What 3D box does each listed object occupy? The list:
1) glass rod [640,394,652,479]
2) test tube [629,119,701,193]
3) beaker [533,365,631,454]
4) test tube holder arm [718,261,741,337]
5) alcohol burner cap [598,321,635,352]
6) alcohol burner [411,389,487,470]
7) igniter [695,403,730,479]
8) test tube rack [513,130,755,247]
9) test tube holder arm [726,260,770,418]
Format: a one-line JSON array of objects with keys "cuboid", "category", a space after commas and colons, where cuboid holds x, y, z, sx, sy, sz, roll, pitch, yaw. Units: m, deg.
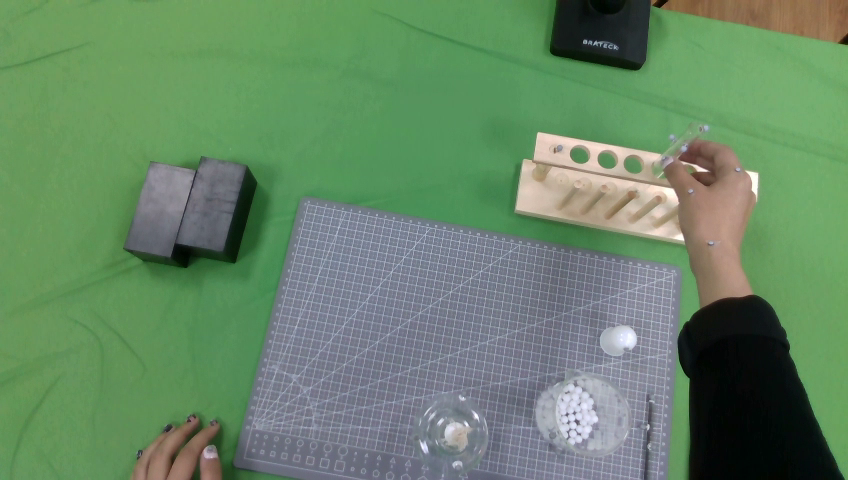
[{"cuboid": [0.229, 0.264, 0.638, 0.008, 0.008, 0.198, 10, 75, -1], "category": "glass rod"}, {"cuboid": [0.251, -0.085, 0.642, 0.017, 0.151, 0.017, 1, 71, -3], "category": "test tube"}, {"cuboid": [0.152, 0.170, 0.611, 0.074, 0.100, 0.083, -21, 76, -9], "category": "beaker"}, {"cuboid": [0.352, 0.068, 0.695, 0.010, 0.015, 0.087, -14, 75, 28], "category": "test tube holder arm"}, {"cuboid": [0.213, 0.104, 0.662, 0.034, 0.048, 0.033, 1, 75, -3], "category": "alcohol burner cap"}, {"cuboid": [0.026, 0.185, 0.592, 0.078, 0.119, 0.077, 1, 73, -3], "category": "alcohol burner"}, {"cuboid": [0.289, 0.309, 0.624, 0.057, 0.025, 0.275, 14, 75, -10], "category": "igniter"}, {"cuboid": [0.232, -0.055, 0.685, 0.242, 0.085, 0.066, 10, 75, -1], "category": "test tube rack"}, {"cuboid": [0.363, 0.110, 0.682, 0.013, 0.015, 0.177, -16, 75, 27], "category": "test tube holder arm"}]
